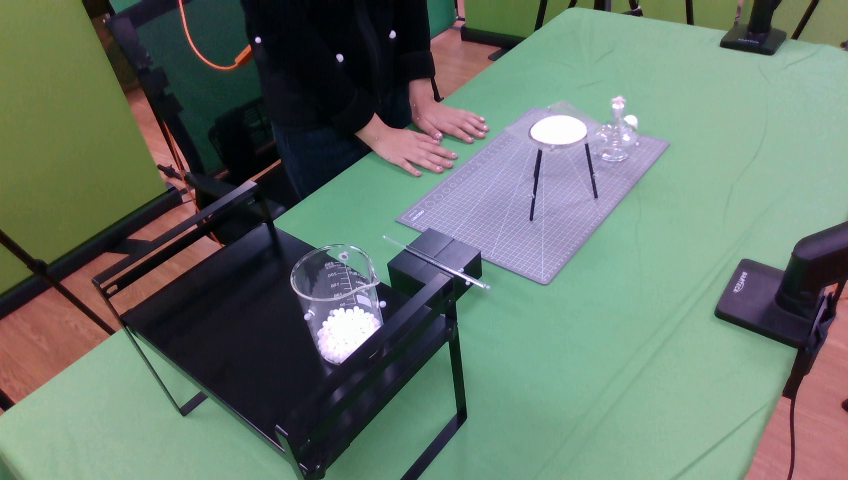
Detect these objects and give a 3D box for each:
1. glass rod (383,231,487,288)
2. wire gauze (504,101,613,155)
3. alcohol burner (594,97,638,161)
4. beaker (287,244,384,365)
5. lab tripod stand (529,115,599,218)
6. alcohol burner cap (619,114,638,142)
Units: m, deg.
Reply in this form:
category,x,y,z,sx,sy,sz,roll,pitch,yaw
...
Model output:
category,x,y,z,sx,sy,sz,roll,pitch,yaw
glass rod,0.011,0.027,0.879,0.198,0.008,0.008,27,51,34
wire gauze,0.211,-0.176,0.955,0.125,0.011,0.120,-24,44,-18
alcohol burner,0.345,-0.203,1.083,0.078,0.119,0.077,-5,42,5
beaker,-0.076,0.065,0.574,0.083,0.101,0.074,7,44,15
lab tripod stand,0.217,-0.123,0.996,0.148,0.132,0.147,-4,42,4
alcohol burner cap,0.388,-0.214,1.145,0.034,0.048,0.033,-3,39,3
